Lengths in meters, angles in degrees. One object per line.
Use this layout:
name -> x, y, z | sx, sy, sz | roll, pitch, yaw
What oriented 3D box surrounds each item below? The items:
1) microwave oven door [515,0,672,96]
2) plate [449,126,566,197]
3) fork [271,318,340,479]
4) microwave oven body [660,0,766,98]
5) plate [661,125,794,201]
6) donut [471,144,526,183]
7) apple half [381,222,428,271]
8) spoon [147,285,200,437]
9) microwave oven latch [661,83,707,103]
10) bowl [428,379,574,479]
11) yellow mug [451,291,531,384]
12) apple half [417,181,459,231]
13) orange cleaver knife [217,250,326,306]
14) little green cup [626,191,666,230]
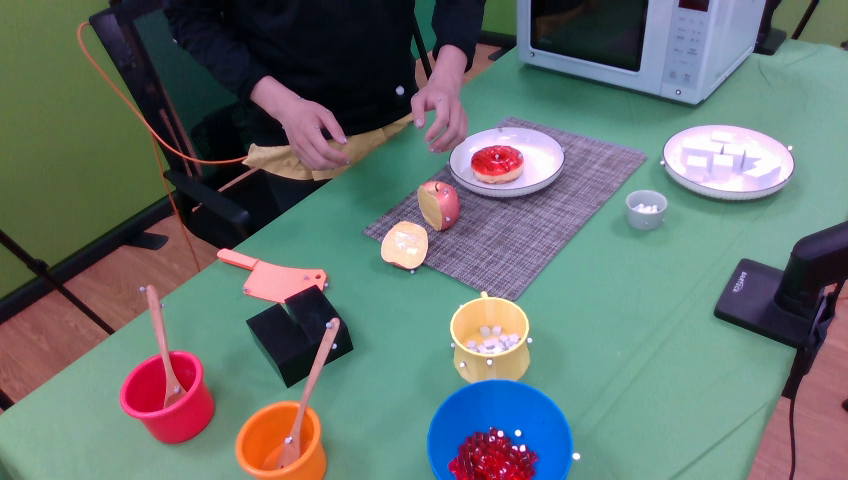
microwave oven door -> 0.344, -0.455, 1.259 | 0.353, 0.245, 0.039 | 26, 51, 33
plate -> 0.150, -0.138, 1.096 | 0.209, 0.038, 0.208 | -4, 40, 4
fork -> -0.132, 0.186, 0.676 | 0.028, 0.019, 0.207 | 18, 90, 28
microwave oven body -> 0.473, -0.514, 1.317 | 0.438, 0.261, 0.327 | 26, 51, 34
plate -> 0.513, -0.128, 1.035 | 0.207, 0.039, 0.206 | -4, 40, 4
donut -> 0.133, -0.139, 1.082 | 0.099, 0.048, 0.098 | -5, 38, 5
apple half -> -0.024, 0.012, 0.946 | 0.081, 0.033, 0.081 | -5, 73, 16
spoon -> -0.318, 0.148, 0.754 | 0.042, 0.021, 0.193 | -15, 85, -10
microwave oven latch -> 0.517, -0.296, 1.205 | 0.078, 0.029, 0.030 | 26, 51, 34
bowl -> 0.082, 0.233, 0.644 | 0.151, 0.077, 0.150 | -4, 40, 4
yellow mug -> 0.085, 0.120, 0.786 | 0.100, 0.064, 0.130 | -7, 39, 1
apple half -> 0.030, -0.060, 0.995 | 0.053, 0.075, 0.080 | -23, 39, -22
orange cleaver knife -> -0.247, 0.059, 0.945 | 0.210, 0.012, 0.077 | 12, 49, 20
little green cup -> 0.352, -0.046, 0.963 | 0.061, 0.039, 0.061 | -4, 40, 4
